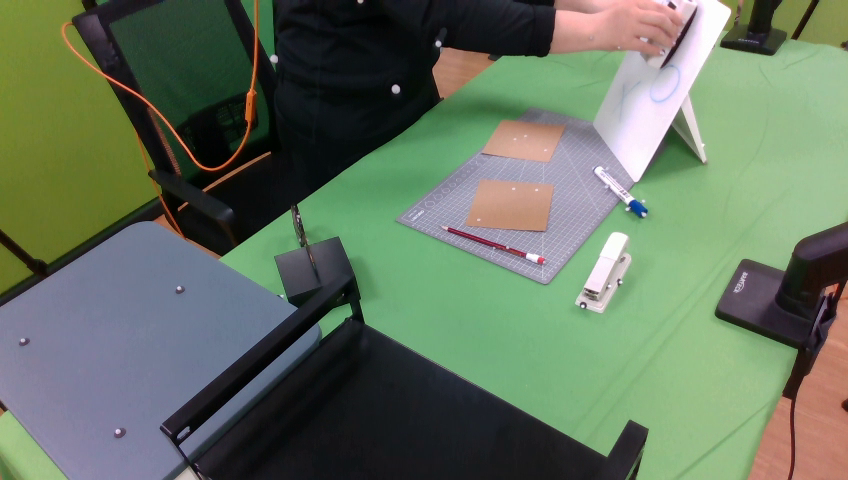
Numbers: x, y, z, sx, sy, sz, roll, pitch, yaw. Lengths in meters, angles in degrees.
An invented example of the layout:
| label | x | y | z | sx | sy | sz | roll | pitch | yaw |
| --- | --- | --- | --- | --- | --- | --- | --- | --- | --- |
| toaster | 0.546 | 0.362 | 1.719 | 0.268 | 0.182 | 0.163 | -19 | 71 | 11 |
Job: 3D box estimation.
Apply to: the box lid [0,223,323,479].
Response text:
| label | x | y | z | sx | sy | sz | roll | pitch | yaw |
| --- | --- | --- | --- | --- | --- | --- | --- | --- | --- |
| box lid | -0.318 | 0.109 | 0.671 | 0.368 | 0.015 | 0.264 | 24 | 49 | 32 |

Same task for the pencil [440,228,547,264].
| label | x | y | z | sx | sy | sz | roll | pitch | yaw |
| --- | --- | --- | --- | --- | --- | --- | --- | --- | --- |
| pencil | 0.105 | 0.006 | 0.957 | 0.192 | 0.012 | 0.012 | 18 | 46 | 30 |

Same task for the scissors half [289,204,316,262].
| label | x | y | z | sx | sy | sz | roll | pitch | yaw |
| --- | --- | --- | --- | --- | --- | --- | --- | --- | --- |
| scissors half | -0.189 | -0.011 | 0.944 | 0.013 | 0.040 | 0.173 | -15 | 37 | -17 |

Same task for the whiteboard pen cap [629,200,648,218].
| label | x | y | z | sx | sy | sz | roll | pitch | yaw |
| --- | --- | --- | --- | --- | --- | --- | --- | --- | --- |
| whiteboard pen cap | 0.348 | -0.052 | 0.983 | 0.018 | 0.018 | 0.033 | -18 | 42 | -12 |

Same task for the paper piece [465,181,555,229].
| label | x | y | z | sx | sy | sz | roll | pitch | yaw |
| --- | --- | --- | --- | --- | --- | --- | --- | --- | --- |
| paper piece | 0.150 | -0.062 | 1.034 | 0.137 | 0.009 | 0.136 | 4 | 37 | 17 |

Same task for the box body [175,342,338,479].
| label | x | y | z | sx | sy | sz | roll | pitch | yaw |
| --- | --- | --- | --- | --- | --- | --- | --- | --- | --- |
| box body | -0.311 | 0.165 | 0.719 | 0.361 | 0.161 | 0.255 | 23 | 49 | 32 |

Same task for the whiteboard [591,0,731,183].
| label | x | y | z | sx | sy | sz | roll | pitch | yaw |
| --- | --- | --- | --- | --- | --- | --- | --- | --- | --- |
| whiteboard | 0.451 | -0.271 | 1.055 | 0.144 | 0.305 | 0.216 | 8 | 37 | -14 |

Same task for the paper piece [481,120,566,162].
| label | x | y | z | sx | sy | sz | roll | pitch | yaw |
| --- | --- | --- | --- | --- | --- | --- | --- | --- | --- |
| paper piece | 0.197 | -0.198 | 1.188 | 0.135 | 0.004 | 0.135 | 11 | 44 | 21 |

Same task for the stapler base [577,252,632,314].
| label | x | y | z | sx | sy | sz | roll | pitch | yaw |
| --- | --- | --- | --- | --- | --- | --- | --- | --- | --- |
| stapler base | 0.264 | 0.051 | 0.875 | 0.041 | 0.024 | 0.131 | 16 | 47 | 29 |

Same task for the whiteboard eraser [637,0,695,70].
| label | x | y | z | sx | sy | sz | roll | pitch | yaw |
| --- | --- | --- | --- | --- | --- | --- | --- | --- | --- |
| whiteboard eraser | 0.391 | -0.334 | 0.973 | 0.042 | 0.112 | 0.055 | 17 | 35 | -9 |

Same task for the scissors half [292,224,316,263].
| label | x | y | z | sx | sy | sz | roll | pitch | yaw |
| --- | --- | --- | --- | --- | --- | --- | --- | --- | --- |
| scissors half | -0.187 | 0.007 | 0.954 | 0.013 | 0.040 | 0.174 | -19 | 21 | -14 |

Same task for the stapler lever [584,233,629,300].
| label | x | y | z | sx | sy | sz | roll | pitch | yaw |
| --- | --- | --- | --- | --- | --- | --- | --- | --- | --- |
| stapler lever | 0.261 | 0.034 | 0.858 | 0.026 | 0.040 | 0.118 | 16 | 45 | 29 |

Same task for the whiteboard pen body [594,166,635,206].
| label | x | y | z | sx | sy | sz | roll | pitch | yaw |
| --- | --- | --- | --- | --- | --- | --- | --- | --- | --- |
| whiteboard pen body | 0.331 | -0.085 | 1.027 | 0.017 | 0.017 | 0.139 | -16 | 41 | -10 |
